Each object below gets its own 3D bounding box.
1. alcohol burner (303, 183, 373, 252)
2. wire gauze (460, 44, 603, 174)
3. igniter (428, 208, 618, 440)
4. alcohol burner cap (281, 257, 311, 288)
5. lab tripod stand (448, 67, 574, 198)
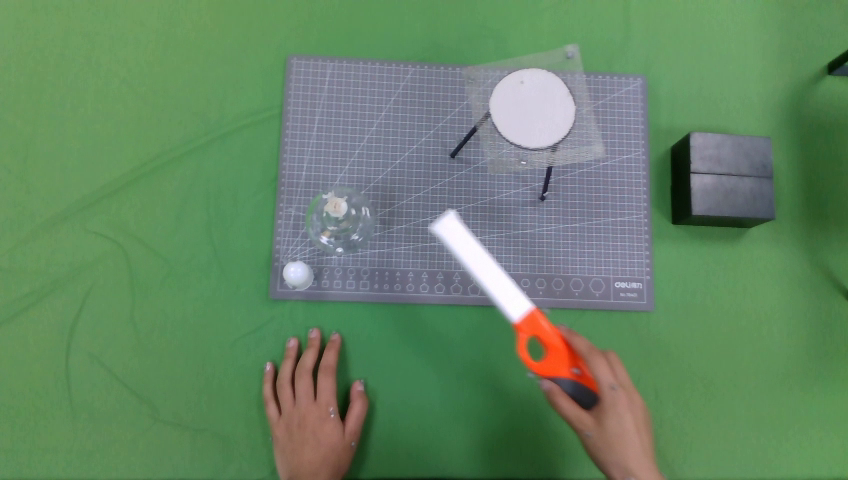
[{"bbox_3d":[-0.094,-0.028,0.654,0.078,0.119,0.077,1,81,-5],"label":"alcohol burner"},{"bbox_3d":[0.108,-0.132,0.609,0.125,0.011,0.121,-11,81,-6],"label":"wire gauze"},{"bbox_3d":[0.102,0.083,0.609,0.057,0.025,0.276,-39,88,-12],"label":"igniter"},{"bbox_3d":[-0.145,0.035,0.675,0.034,0.048,0.033,1,79,-4],"label":"alcohol burner cap"},{"bbox_3d":[0.105,-0.126,0.676,0.148,0.132,0.147,1,78,-3],"label":"lab tripod stand"}]
